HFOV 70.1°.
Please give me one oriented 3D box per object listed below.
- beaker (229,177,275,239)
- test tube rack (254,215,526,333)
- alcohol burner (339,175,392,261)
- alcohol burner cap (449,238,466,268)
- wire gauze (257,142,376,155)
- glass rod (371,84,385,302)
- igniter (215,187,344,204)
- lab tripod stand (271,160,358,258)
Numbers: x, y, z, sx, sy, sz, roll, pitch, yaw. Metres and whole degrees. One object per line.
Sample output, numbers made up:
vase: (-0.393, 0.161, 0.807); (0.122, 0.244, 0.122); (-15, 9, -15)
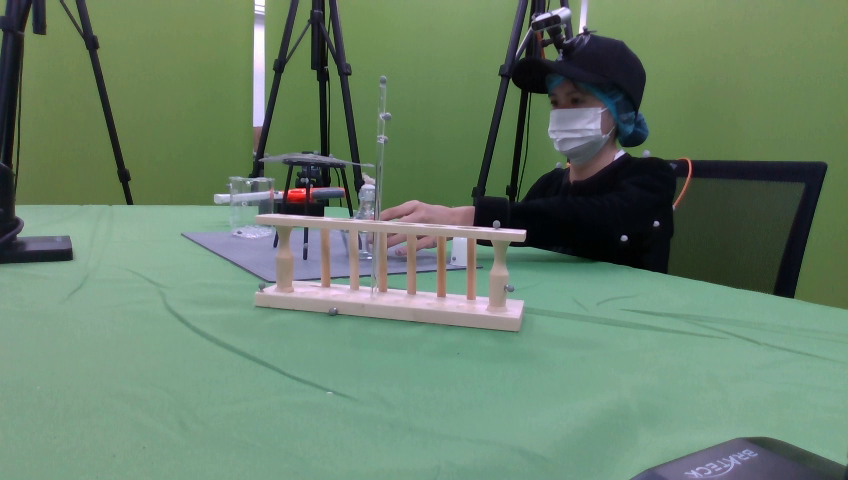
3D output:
beaker: (-0.292, -0.056, 1.023); (0.074, 0.100, 0.083); (-1, 8, -26)
test tube rack: (-0.030, 0.025, 0.558); (0.242, 0.085, 0.067); (4, 7, 12)
alcohol burner: (-0.083, -0.032, 0.856); (0.078, 0.119, 0.078); (0, 6, 0)
alcohol burner cap: (0.051, 0.014, 0.827); (0.034, 0.048, 0.034); (2, 5, 0)
wire gauze: (-0.155, -0.130, 0.871); (0.124, 0.011, 0.122); (-1, 7, 36)
glass rod: (-0.041, -0.041, 0.548); (0.008, 0.199, 0.008); (2, 2, 0)
igniter: (-0.289, -0.093, 1.255); (0.278, 0.025, 0.057); (-6, 12, -34)
lab tripod stand: (-0.160, -0.048, 0.876); (0.148, 0.131, 0.148); (3, 5, 0)
